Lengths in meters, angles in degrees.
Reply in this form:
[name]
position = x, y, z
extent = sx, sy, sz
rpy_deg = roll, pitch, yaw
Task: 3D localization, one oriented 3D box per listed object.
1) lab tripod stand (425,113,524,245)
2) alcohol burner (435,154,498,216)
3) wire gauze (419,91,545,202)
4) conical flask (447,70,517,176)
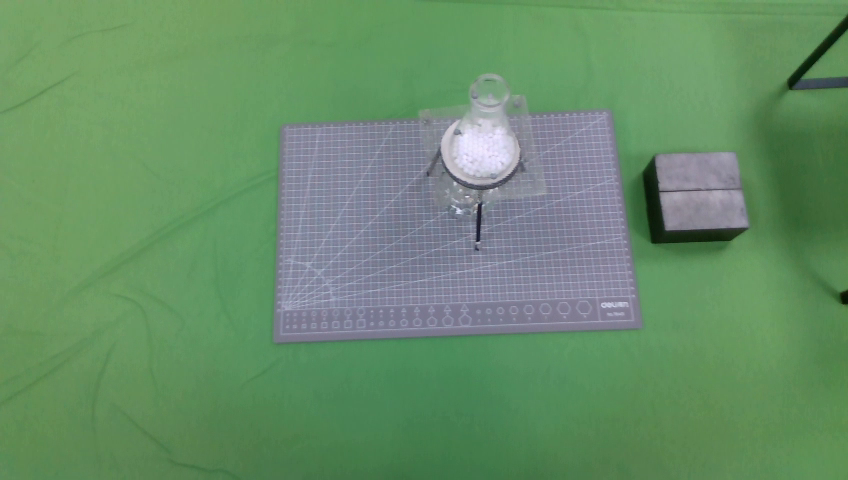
[lab tripod stand]
position = 0.066, -0.084, 0.726
extent = 0.148, 0.132, 0.147
rpy_deg = 0, 71, 1
[alcohol burner]
position = 0.053, -0.074, 0.734
extent = 0.078, 0.120, 0.077
rpy_deg = 0, 72, 0
[wire gauze]
position = 0.063, -0.102, 0.663
extent = 0.125, 0.011, 0.120
rpy_deg = -6, 75, -4
[conical flask]
position = 0.062, -0.120, 0.606
extent = 0.075, 0.122, 0.075
rpy_deg = 0, 72, 1
